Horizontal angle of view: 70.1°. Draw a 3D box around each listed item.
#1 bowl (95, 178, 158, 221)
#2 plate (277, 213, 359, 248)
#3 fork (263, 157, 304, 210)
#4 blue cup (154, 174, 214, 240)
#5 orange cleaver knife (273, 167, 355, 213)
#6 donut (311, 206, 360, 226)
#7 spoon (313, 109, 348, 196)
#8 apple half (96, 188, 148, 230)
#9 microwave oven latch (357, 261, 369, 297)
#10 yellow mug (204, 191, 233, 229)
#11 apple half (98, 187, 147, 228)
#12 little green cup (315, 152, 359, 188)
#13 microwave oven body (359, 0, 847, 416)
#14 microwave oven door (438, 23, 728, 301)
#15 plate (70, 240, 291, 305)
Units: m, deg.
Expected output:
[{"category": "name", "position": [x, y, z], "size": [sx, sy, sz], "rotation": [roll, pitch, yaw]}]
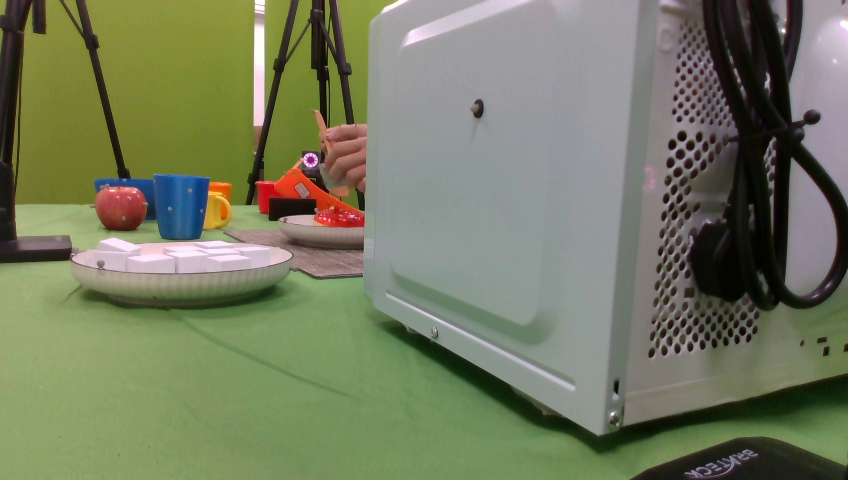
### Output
[{"category": "bowl", "position": [-0.576, -0.081, 1.217], "size": [0.151, 0.077, 0.151], "rotation": [3, 8, 0]}, {"category": "plate", "position": [-0.135, -0.017, 0.993], "size": [0.209, 0.038, 0.209], "rotation": [3, 8, 0]}, {"category": "fork", "position": [-0.345, -0.143, 1.505], "size": [0.028, 0.019, 0.207], "rotation": [-4, 46, 28]}, {"category": "blue cup", "position": [-0.391, -0.053, 0.978], "size": [0.093, 0.100, 0.092], "rotation": [4, 6, 0]}, {"category": "orange cleaver knife", "position": [-0.238, -0.091, 1.381], "size": [0.212, 0.077, 0.012], "rotation": [31, 0, -19]}, {"category": "donut", "position": [-0.137, -0.029, 0.995], "size": [0.099, 0.048, 0.099], "rotation": [3, 10, 0]}, {"category": "spoon", "position": [-0.172, -0.159, 1.090], "size": [0.042, 0.193, 0.021], "rotation": [-1, -25, -34]}, {"category": "apple half", "position": [-0.517, -0.052, 1.036], "size": [0.081, 0.074, 0.053], "rotation": [3, 10, -26]}, {"category": "microwave oven latch", "position": [-0.019, 0.033, 0.530], "size": [0.079, 0.029, 0.030], "rotation": [-1, 7, -26]}, {"category": "yellow mug", "position": [-0.415, -0.057, 1.131], "size": [0.130, 0.064, 0.100], "rotation": [6, 7, 16]}, {"category": "apple half", "position": [-0.534, -0.059, 1.071], "size": [0.082, 0.081, 0.032], "rotation": [-1, 10, -26]}, {"category": "little green cup", "position": [-0.130, -0.105, 0.917], "size": [0.061, 0.038, 0.061], "rotation": [-20, 6, 3]}, {"category": "microwave oven body", "position": [0.211, -0.047, 0.474], "size": [0.444, 0.260, 0.324], "rotation": [-1, 7, -28]}, {"category": "microwave oven door", "position": [0.181, -0.072, 0.620], "size": [0.358, 0.243, 0.039], "rotation": [-2, 8, -29]}, {"category": "plate", "position": [-0.242, 0.031, 0.618], "size": [0.208, 0.039, 0.207], "rotation": [2, 8, 0]}]
